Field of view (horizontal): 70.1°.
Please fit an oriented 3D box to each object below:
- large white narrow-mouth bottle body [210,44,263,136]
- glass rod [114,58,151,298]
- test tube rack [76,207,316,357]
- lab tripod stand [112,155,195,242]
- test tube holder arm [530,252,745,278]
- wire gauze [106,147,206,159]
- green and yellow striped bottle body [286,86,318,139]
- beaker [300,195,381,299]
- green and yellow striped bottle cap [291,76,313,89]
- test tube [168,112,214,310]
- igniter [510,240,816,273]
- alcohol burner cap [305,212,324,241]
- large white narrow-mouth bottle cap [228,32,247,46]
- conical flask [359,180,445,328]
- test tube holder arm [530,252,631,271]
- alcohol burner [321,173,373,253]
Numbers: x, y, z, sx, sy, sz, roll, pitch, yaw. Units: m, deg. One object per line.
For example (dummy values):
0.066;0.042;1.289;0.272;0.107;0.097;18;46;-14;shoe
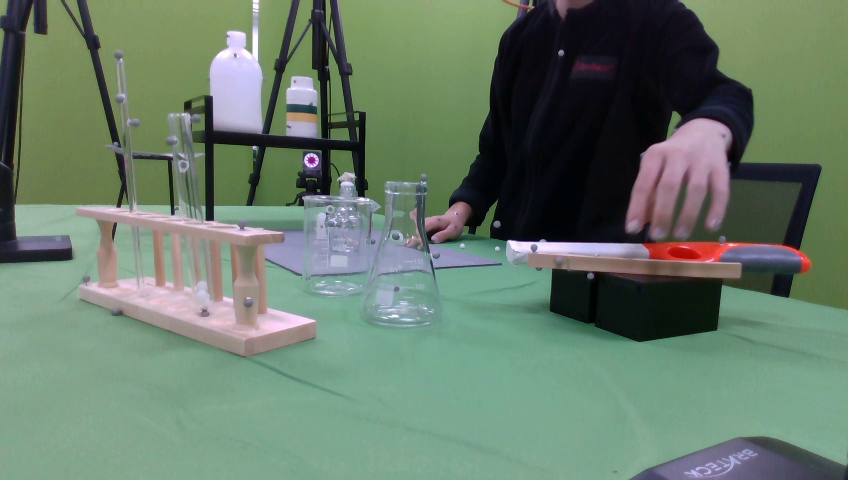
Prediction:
-0.369;-0.306;1.194;0.102;0.194;0.102;3;8;0;large white narrow-mouth bottle body
-0.236;-0.044;0.492;0.008;0.199;0.008;0;15;0;glass rod
-0.196;0.023;0.500;0.241;0.085;0.067;8;9;36;test tube rack
-0.405;-0.064;0.931;0.148;0.131;0.148;1;6;0;lab tripod stand
0.182;0.022;0.524;0.178;0.015;0.013;3;8;8;test tube holder arm
-0.408;-0.131;0.929;0.125;0.011;0.121;2;5;-11;wire gauze
-0.251;-0.270;1.245;0.063;0.119;0.063;2;7;0;green and yellow striped bottle body
-0.087;0.006;0.626;0.084;0.100;0.074;1;8;-17;beaker
-0.250;-0.321;1.237;0.045;0.020;0.045;4;4;0;green and yellow striped bottle cap
-0.175;-0.020;0.455;0.017;0.150;0.017;-4;9;1;test tube
0.220;0.015;0.566;0.277;0.025;0.057;2;16;0;igniter
-0.185;-0.023;1.027;0.034;0.048;0.034;2;6;0;alcohol burner cap
-0.364;-0.391;1.180;0.038;0.024;0.037;3;8;0;large white narrow-mouth bottle cap
-0.017;0.010;0.522;0.075;0.122;0.075;2;7;0;conical flask
0.139;0.019;0.537;0.088;0.015;0.010;3;8;9;test tube holder arm
-0.115;-0.041;0.905;0.078;0.119;0.078;1;6;0;alcohol burner
